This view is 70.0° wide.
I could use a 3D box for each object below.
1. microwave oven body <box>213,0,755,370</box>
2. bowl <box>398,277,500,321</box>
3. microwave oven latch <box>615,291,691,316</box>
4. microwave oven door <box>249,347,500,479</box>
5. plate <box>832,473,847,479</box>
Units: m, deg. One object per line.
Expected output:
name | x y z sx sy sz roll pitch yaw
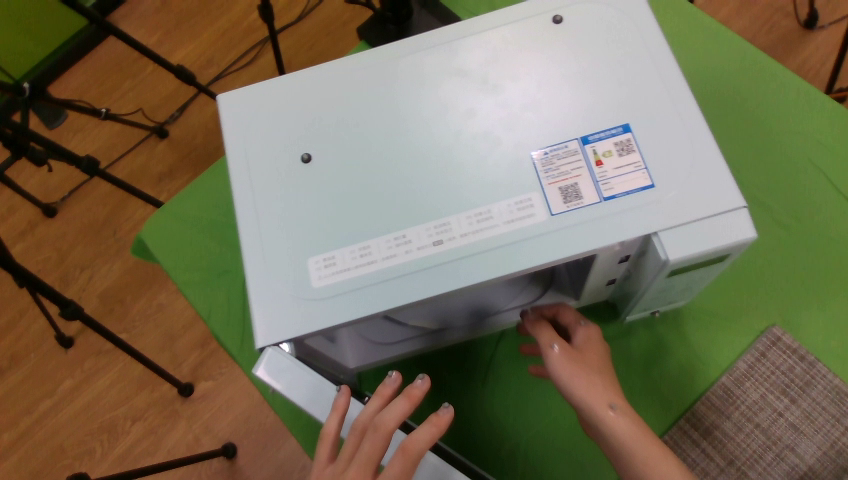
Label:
microwave oven body | 0.046 -0.049 0.675 0.442 0.262 0.323 -17 70 2
bowl | 0.019 0.029 0.695 0.151 0.077 0.150 -3 66 6
microwave oven latch | 0.267 0.065 0.708 0.079 0.030 0.030 -15 70 3
microwave oven door | 0.019 0.219 0.577 0.354 0.245 0.039 29 76 16
plate | 0.471 0.335 0.600 0.207 0.039 0.206 -2 70 7
